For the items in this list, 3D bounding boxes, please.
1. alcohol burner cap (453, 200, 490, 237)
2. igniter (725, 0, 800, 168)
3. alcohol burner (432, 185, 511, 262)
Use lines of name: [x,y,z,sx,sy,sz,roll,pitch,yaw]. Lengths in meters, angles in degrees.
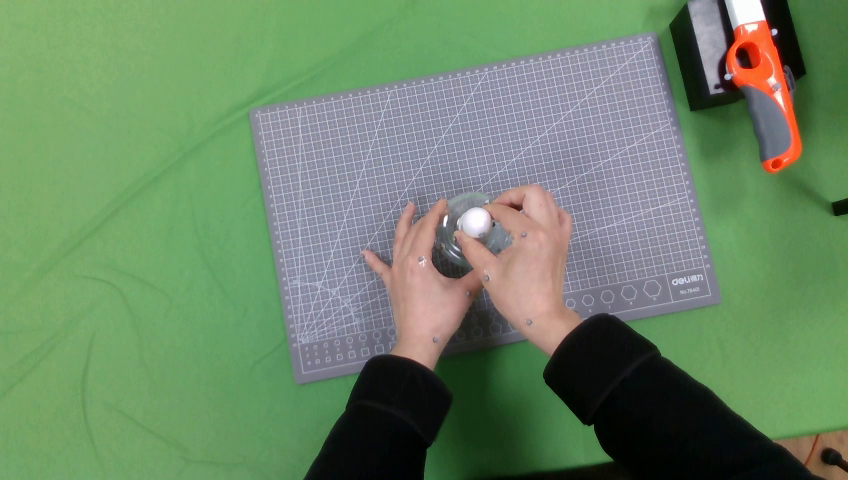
alcohol burner cap: [0.045,-0.021,0.552,0.034,0.048,0.034,0,85,-5]
igniter: [0.321,-0.206,0.597,0.057,0.025,0.275,-10,82,1]
alcohol burner: [0.046,-0.017,0.584,0.078,0.119,0.078,0,87,2]
